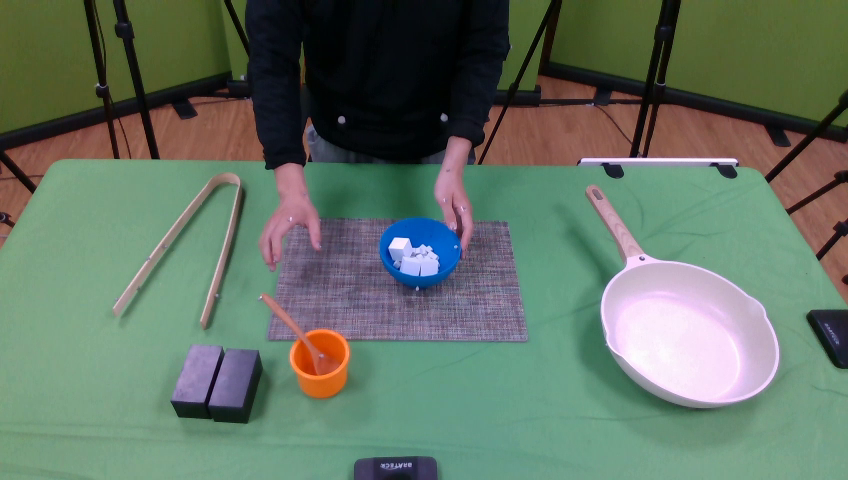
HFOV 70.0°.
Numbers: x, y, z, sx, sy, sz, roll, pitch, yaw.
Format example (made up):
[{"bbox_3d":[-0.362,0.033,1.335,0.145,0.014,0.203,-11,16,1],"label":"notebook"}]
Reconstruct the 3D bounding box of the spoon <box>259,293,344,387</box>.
[{"bbox_3d":[-0.191,0.155,0.947,0.021,0.194,0.041,-13,27,50],"label":"spoon"}]

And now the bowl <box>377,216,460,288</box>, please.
[{"bbox_3d":[-0.012,0.035,1.118,0.151,0.077,0.150,2,46,-2],"label":"bowl"}]

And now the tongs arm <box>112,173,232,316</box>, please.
[{"bbox_3d":[-0.467,-0.005,1.157,0.051,0.026,0.382,11,45,4],"label":"tongs arm"}]

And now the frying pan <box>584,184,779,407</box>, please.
[{"bbox_3d":[0.412,0.079,1.097,0.307,0.103,0.484,-10,56,-15],"label":"frying pan"}]

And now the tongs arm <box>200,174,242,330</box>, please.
[{"bbox_3d":[-0.387,0.008,1.158,0.028,0.028,0.385,-1,46,-3],"label":"tongs arm"}]
